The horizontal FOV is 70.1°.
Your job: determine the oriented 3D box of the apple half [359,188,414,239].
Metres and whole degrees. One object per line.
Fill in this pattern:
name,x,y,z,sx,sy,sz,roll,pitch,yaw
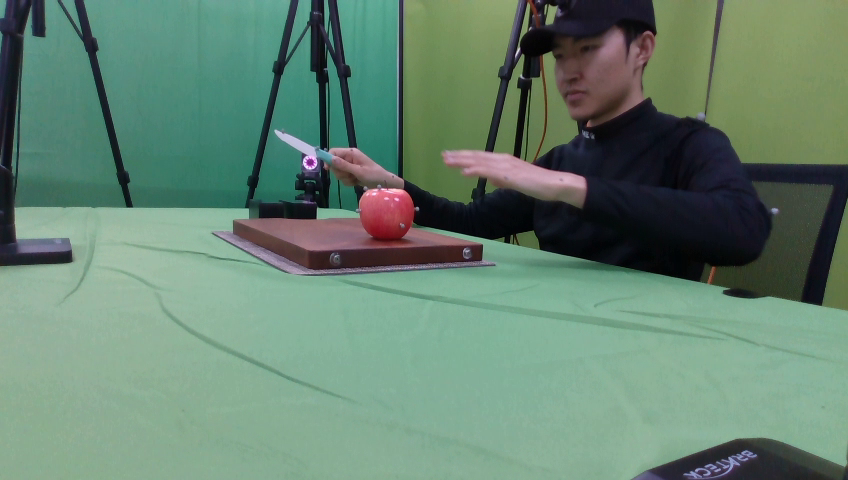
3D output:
apple half,-0.049,-0.037,0.870,0.081,0.074,0.053,3,10,-30

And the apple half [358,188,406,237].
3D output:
apple half,-0.068,-0.043,0.904,0.082,0.081,0.032,-2,10,-29

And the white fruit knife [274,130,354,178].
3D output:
white fruit knife,-0.220,-0.177,1.231,0.016,0.027,0.208,-9,-24,39
